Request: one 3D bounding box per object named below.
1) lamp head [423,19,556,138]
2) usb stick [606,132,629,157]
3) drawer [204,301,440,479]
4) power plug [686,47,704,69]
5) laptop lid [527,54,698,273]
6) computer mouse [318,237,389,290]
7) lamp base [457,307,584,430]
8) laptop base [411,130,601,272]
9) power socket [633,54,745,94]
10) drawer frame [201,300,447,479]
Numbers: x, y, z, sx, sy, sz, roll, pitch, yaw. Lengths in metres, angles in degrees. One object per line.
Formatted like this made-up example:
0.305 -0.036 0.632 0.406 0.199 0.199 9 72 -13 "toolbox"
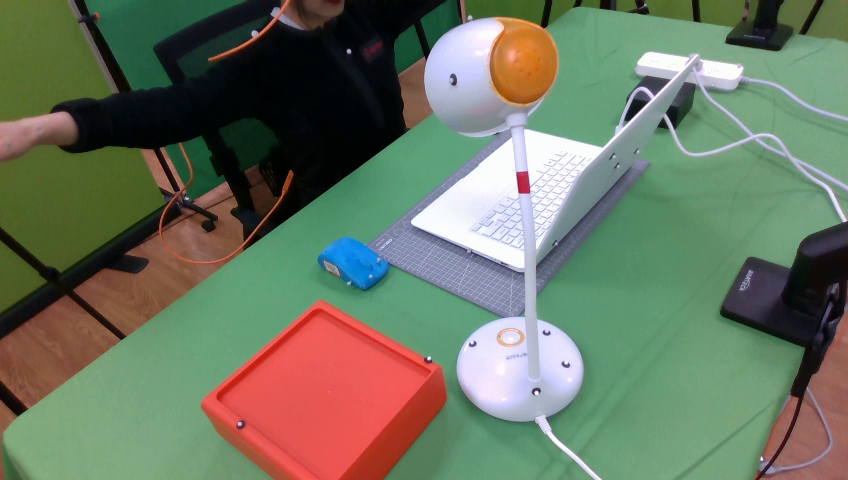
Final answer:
0.068 -0.151 0.563 0.113 0.113 0.122 -21 18 -13 "lamp head"
0.353 -0.174 1.109 0.021 0.027 0.059 23 49 32 "usb stick"
-0.119 0.193 0.735 0.210 0.073 0.195 23 49 32 "drawer"
0.564 -0.384 1.247 0.035 0.073 0.052 22 71 15 "power plug"
0.281 -0.113 0.896 0.013 0.242 0.358 38 55 17 "laptop lid"
-0.113 0.033 0.959 0.116 0.041 0.063 27 50 31 "computer mouse"
0.115 0.108 0.713 0.161 0.181 0.178 -17 43 -8 "lamp base"
0.175 -0.083 1.054 0.233 0.023 0.355 22 49 36 "laptop base"
0.563 -0.358 1.295 0.225 0.033 0.072 21 50 30 "power socket"
-0.117 0.193 0.733 0.212 0.083 0.202 23 48 32 "drawer frame"
